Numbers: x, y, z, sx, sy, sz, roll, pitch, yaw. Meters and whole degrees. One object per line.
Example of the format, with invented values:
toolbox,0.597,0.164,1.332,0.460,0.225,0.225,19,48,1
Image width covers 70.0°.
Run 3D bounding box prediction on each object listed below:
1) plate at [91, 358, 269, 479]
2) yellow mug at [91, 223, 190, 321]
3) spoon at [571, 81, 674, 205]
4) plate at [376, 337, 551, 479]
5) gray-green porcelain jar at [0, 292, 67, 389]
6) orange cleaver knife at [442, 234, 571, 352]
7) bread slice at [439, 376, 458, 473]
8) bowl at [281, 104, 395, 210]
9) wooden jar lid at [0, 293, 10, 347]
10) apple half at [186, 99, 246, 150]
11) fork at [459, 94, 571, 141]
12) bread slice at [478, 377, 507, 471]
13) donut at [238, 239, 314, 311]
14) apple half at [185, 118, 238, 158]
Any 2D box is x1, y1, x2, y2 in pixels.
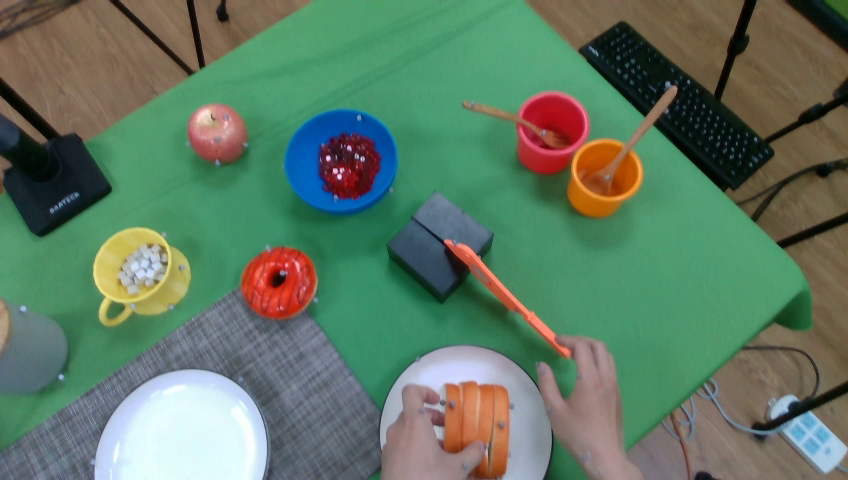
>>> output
plate,-0.287,0.248,0.727,0.208,0.039,0.206,0,71,1
yellow mug,-0.377,0.048,0.789,0.099,0.064,0.130,27,74,10
spoon,0.261,-0.124,0.795,0.041,0.194,0.022,44,32,16
plate,0.047,0.223,0.734,0.209,0.038,0.207,0,70,1
gray-green porcelain jar,-0.511,0.123,0.733,0.106,0.127,0.105,0,70,1
orange cleaver knife,0.103,0.066,0.766,0.212,0.077,0.012,44,79,-9
bread slice,0.027,0.205,0.685,0.018,0.135,0.106,2,67,1
bowl,-0.112,-0.102,0.831,0.151,0.077,0.150,0,71,1
wooden jar lid,-0.513,0.101,0.674,0.108,0.021,0.107,-1,69,2
apple half,-0.288,-0.167,0.860,0.080,0.075,0.053,16,66,11
fork,0.127,-0.164,0.812,0.209,0.018,0.028,11,62,-39
bread slice,0.076,0.208,0.682,0.019,0.132,0.104,4,72,1
donut,-0.194,0.047,0.794,0.099,0.048,0.098,0,71,0
apple half,-0.299,-0.132,0.846,0.081,0.082,0.032,17,66,7
